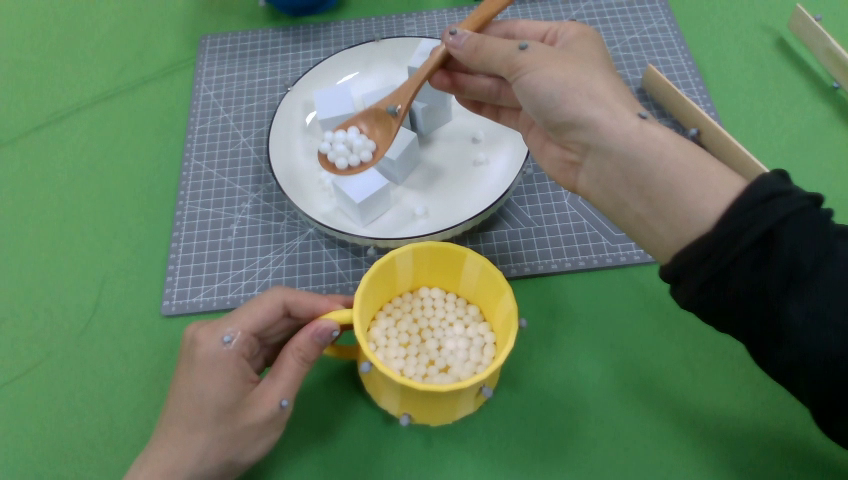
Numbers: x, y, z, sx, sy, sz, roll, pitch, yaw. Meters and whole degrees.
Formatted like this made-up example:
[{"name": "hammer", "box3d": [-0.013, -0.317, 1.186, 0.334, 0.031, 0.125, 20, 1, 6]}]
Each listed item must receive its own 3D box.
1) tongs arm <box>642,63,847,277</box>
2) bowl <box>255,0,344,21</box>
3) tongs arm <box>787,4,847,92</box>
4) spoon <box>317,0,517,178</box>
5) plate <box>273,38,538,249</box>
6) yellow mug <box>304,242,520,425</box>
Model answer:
[{"name": "tongs arm", "box3d": [0.292, -0.004, 0.426, 0.028, 0.028, 0.384, -29, 63, -17]}, {"name": "bowl", "box3d": [-0.121, -0.270, 0.590, 0.151, 0.077, 0.150, -2, 59, 4]}, {"name": "tongs arm", "box3d": [0.366, -0.035, 0.438, 0.051, 0.027, 0.381, -18, 61, -8]}, {"name": "spoon", "box3d": [0.008, -0.108, 0.373, 0.194, 0.022, 0.041, -43, 63, 10]}, {"name": "plate", "box3d": [-0.014, -0.078, 0.488, 0.207, 0.039, 0.205, -2, 59, 4]}, {"name": "yellow mug", "box3d": [-0.009, 0.060, 0.383, 0.131, 0.064, 0.099, -2, 57, -5]}]
